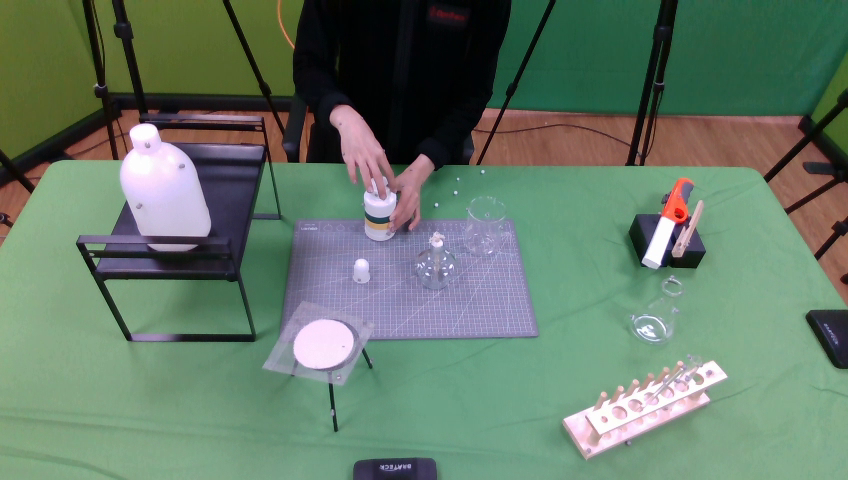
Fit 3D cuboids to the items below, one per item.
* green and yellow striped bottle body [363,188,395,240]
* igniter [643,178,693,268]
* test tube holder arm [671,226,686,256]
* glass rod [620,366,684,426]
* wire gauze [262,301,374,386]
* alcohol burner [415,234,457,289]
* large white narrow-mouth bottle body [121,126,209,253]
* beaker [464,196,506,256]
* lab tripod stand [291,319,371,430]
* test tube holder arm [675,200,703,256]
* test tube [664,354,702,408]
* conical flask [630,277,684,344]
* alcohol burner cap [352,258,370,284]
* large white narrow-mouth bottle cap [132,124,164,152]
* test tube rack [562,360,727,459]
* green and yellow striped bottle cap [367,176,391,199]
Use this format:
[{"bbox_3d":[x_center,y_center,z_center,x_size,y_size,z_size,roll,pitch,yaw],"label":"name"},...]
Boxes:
[{"bbox_3d":[-0.087,-0.061,1.177,0.063,0.120,0.063,2,46,-2],"label":"green and yellow striped bottle body"},{"bbox_3d":[0.488,-0.042,1.205,0.057,0.025,0.276,30,51,11],"label":"igniter"},{"bbox_3d":[0.494,0.001,1.167,0.010,0.015,0.087,1,36,42],"label":"test tube holder arm"},{"bbox_3d":[0.322,0.227,0.866,0.008,0.200,0.008,6,51,-7],"label":"glass rod"},{"bbox_3d":[-0.150,0.148,0.873,0.121,0.011,0.124,14,46,12],"label":"wire gauze"},{"bbox_3d":[0.022,0.033,1.099,0.078,0.120,0.077,1,47,-1],"label":"alcohol burner"},{"bbox_3d":[-0.378,-0.077,0.875,0.102,0.195,0.101,3,46,-3],"label":"large white narrow-mouth bottle body"},{"bbox_3d":[0.117,-0.026,1.174,0.074,0.101,0.083,21,48,15],"label":"beaker"},{"bbox_3d":[-0.146,0.193,0.923,0.148,0.132,0.147,1,47,-1],"label":"lab tripod stand"},{"bbox_3d":[0.523,-0.025,1.190,0.013,0.015,0.178,0,36,41],"label":"test tube holder arm"},{"bbox_3d":[0.385,0.215,0.906,0.017,0.151,0.017,-1,49,1],"label":"test tube"},{"bbox_3d":[0.408,0.117,1.045,0.075,0.122,0.075,2,46,-2],"label":"conical flask"},{"bbox_3d":[-0.117,0.055,1.118,0.034,0.048,0.033,2,46,-2],"label":"alcohol burner cap"},{"bbox_3d":[-0.371,-0.137,0.813,0.038,0.024,0.037,3,46,-3],"label":"large white narrow-mouth bottle cap"},{"bbox_3d":[0.341,0.247,0.940,0.243,0.085,0.066,-16,49,-19],"label":"test tube rack"},{"bbox_3d":[-0.085,-0.100,1.135,0.045,0.020,0.045,3,49,-3],"label":"green and yellow striped bottle cap"}]
